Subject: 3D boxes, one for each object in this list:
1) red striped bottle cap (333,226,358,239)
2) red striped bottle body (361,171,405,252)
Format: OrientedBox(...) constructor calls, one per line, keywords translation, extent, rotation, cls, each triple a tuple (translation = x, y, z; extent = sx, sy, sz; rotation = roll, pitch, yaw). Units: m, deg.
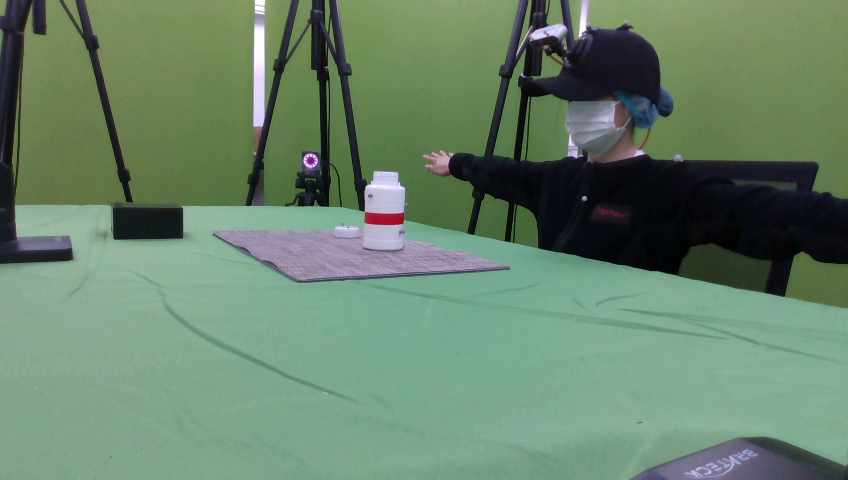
OrientedBox(translation=(-0.139, -0.013, 1.069), extent=(0.044, 0.017, 0.044), rotation=(0, 9, 0), cls="red striped bottle cap")
OrientedBox(translation=(-0.062, -0.045, 0.933), extent=(0.063, 0.119, 0.063), rotation=(4, 8, 0), cls="red striped bottle body")
